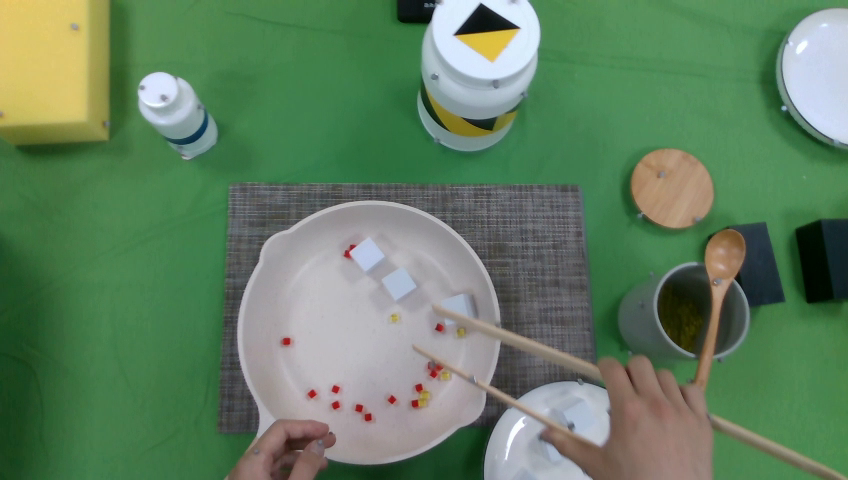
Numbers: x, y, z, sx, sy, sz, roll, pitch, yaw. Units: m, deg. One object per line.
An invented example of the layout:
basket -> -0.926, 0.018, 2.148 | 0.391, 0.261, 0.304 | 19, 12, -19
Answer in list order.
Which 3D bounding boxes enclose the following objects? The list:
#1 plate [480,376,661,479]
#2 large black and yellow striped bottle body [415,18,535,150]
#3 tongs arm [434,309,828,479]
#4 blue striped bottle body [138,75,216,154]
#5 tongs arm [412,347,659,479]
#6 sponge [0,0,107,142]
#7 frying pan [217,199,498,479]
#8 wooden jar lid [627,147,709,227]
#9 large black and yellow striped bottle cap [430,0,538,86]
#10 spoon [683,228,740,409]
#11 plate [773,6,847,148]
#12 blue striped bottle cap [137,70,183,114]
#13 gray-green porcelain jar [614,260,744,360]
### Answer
plate -> 0.166, 0.263, 0.703 | 0.208, 0.039, 0.206 | 1, 80, -4
large black and yellow striped bottle body -> 0.057, -0.199, 0.722 | 0.131, 0.184, 0.130 | 1, 77, -3
tongs arm -> 0.170, 0.140, 0.520 | 0.384, 0.028, 0.028 | 22, 64, 27
blue striped bottle body -> -0.294, -0.152, 0.719 | 0.063, 0.121, 0.063 | 1, 77, -3
tongs arm -> 0.155, 0.163, 0.511 | 0.381, 0.027, 0.050 | 25, 69, 28
sponge -> -0.468, -0.230, 0.754 | 0.118, 0.061, 0.206 | -5, 79, -5
frying pan -> -0.129, 0.173, 0.666 | 0.306, 0.103, 0.487 | 40, 70, 6
wooden jar lid -> 0.317, -0.068, 0.795 | 0.108, 0.021, 0.108 | 1, 79, -3
large black and yellow striped bottle cap -> 0.063, -0.219, 0.640 | 0.115, 0.019, 0.114 | 1, 79, -3
spoon -> 0.296, 0.081, 0.635 | 0.042, 0.021, 0.193 | 16, 81, -4
plate -> 0.578, -0.220, 0.835 | 0.209, 0.038, 0.208 | 1, 78, -3
blue striped bottle cap -> -0.292, -0.164, 0.669 | 0.044, 0.020, 0.044 | 1, 79, -4
gray-green porcelain jar -> 0.287, 0.086, 0.705 | 0.106, 0.127, 0.105 | 1, 77, -3
